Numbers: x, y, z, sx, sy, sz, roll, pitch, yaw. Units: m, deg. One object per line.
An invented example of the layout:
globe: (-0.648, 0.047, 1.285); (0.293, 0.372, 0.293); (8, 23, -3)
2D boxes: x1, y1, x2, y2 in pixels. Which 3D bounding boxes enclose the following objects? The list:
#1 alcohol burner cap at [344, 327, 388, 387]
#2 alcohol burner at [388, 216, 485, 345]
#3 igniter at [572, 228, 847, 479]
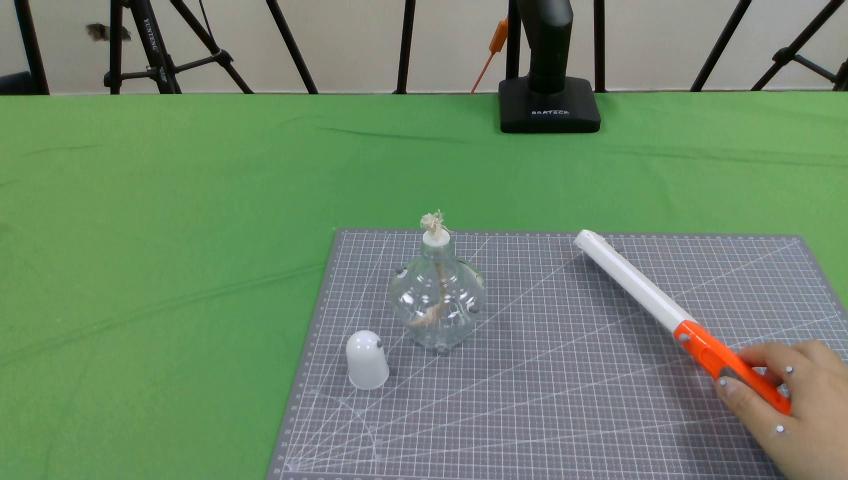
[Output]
alcohol burner cap: (-0.046, 0.086, 0.463); (0.034, 0.048, 0.033); (-1, 42, 2)
alcohol burner: (0.009, 0.027, 0.473); (0.078, 0.120, 0.077); (0, 43, 0)
igniter: (0.207, 0.074, 0.462); (0.058, 0.025, 0.273); (16, 25, -38)
